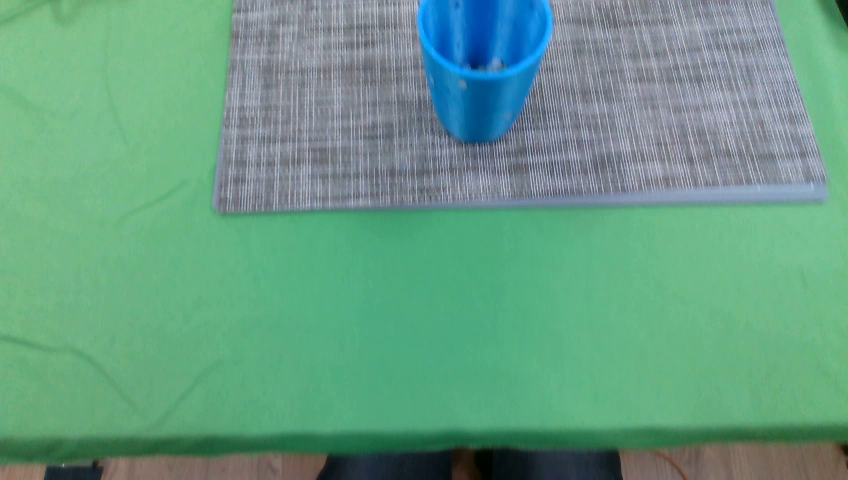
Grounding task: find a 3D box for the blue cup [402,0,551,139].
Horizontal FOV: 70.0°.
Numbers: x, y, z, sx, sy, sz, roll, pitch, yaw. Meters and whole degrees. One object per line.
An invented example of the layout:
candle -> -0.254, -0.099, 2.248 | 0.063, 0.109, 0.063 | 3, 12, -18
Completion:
blue cup -> 0.038, -0.121, 0.422 | 0.092, 0.101, 0.092 | 0, 70, 1
